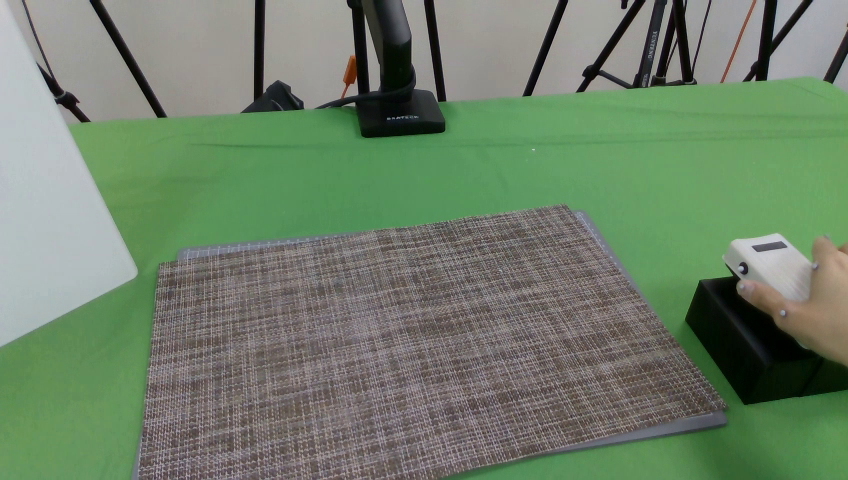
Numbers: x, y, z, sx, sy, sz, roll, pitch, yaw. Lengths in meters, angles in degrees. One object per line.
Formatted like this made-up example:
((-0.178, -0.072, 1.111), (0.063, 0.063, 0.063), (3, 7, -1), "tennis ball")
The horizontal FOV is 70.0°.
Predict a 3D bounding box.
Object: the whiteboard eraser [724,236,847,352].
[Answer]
((0.304, 0.045, 0.499), (0.056, 0.042, 0.111), (-6, 38, -12), "whiteboard eraser")

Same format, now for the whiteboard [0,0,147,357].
((-0.429, -0.056, 0.524), (0.142, 0.308, 0.217), (11, 35, 45), "whiteboard")
